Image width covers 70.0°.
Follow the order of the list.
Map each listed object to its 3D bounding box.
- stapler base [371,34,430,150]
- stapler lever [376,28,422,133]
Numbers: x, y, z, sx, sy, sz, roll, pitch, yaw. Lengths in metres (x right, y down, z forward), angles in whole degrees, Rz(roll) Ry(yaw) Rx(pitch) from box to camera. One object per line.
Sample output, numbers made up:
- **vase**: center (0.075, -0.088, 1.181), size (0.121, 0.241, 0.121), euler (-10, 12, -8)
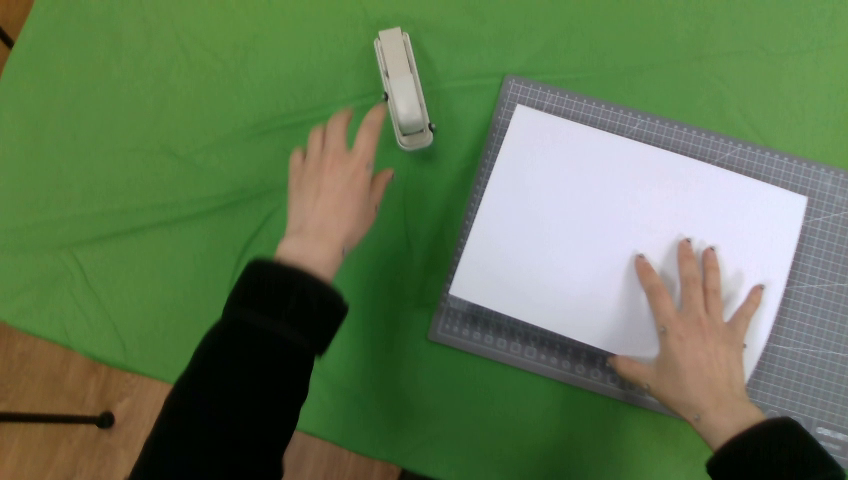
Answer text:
- **stapler base**: center (-0.026, -0.163, 0.652), size (0.041, 0.024, 0.130), euler (-13, 82, -4)
- **stapler lever**: center (-0.026, -0.168, 0.628), size (0.027, 0.040, 0.117), euler (-13, 83, -4)
